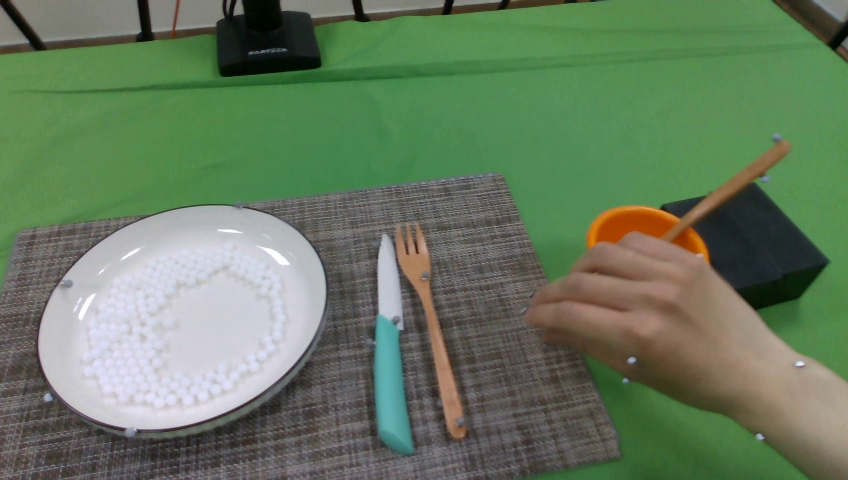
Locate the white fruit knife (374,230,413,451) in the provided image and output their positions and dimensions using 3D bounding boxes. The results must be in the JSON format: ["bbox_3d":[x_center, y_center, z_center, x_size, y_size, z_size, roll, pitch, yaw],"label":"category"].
[{"bbox_3d":[-0.029,0.067,0.483,0.027,0.016,0.205,21,40,-27],"label":"white fruit knife"}]

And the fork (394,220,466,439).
[{"bbox_3d":[0.004,0.061,0.486,0.028,0.019,0.205,-3,47,-15],"label":"fork"}]

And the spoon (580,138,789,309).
[{"bbox_3d":[0.204,-0.011,0.480,0.022,0.194,0.041,25,28,-45],"label":"spoon"}]

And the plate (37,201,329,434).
[{"bbox_3d":[-0.177,0.054,0.468,0.209,0.038,0.207,2,48,-2],"label":"plate"}]
